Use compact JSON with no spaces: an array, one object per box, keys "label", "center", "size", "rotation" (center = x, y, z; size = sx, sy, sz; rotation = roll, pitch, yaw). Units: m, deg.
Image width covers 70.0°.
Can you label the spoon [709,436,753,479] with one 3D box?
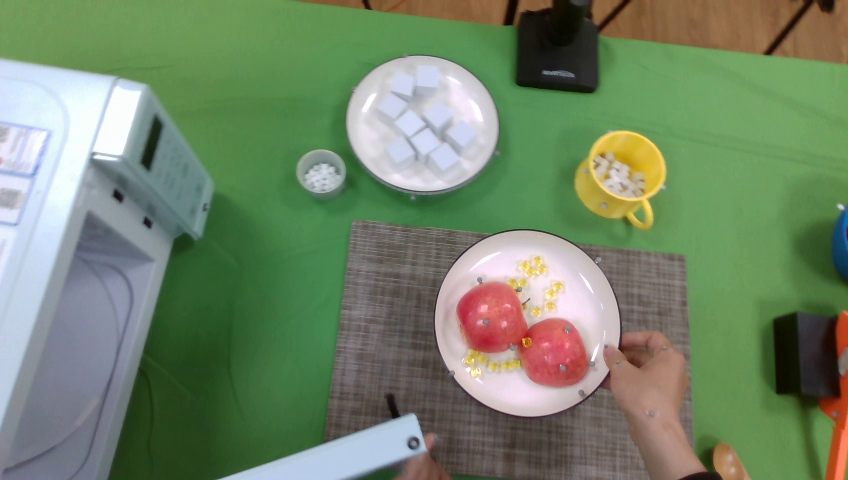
[{"label":"spoon","center":[0.411,0.316,0.726],"size":[0.041,0.022,0.193],"rotation":[-36,78,-31]}]

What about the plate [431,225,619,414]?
[{"label":"plate","center":[0.110,0.087,0.679],"size":[0.209,0.038,0.208],"rotation":[1,78,-2]}]

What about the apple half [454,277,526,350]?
[{"label":"apple half","center":[0.072,0.079,0.663],"size":[0.075,0.053,0.080],"rotation":[-14,79,-2]}]

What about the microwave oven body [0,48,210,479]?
[{"label":"microwave oven body","center":[-0.451,0.059,0.610],"size":[0.326,0.261,0.439],"rotation":[9,74,-2]}]

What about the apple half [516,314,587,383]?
[{"label":"apple half","center":[0.142,0.120,0.666],"size":[0.081,0.033,0.081],"rotation":[0,74,0]}]

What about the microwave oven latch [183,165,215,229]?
[{"label":"microwave oven latch","center":[-0.284,-0.055,0.757],"size":[0.030,0.029,0.079],"rotation":[10,74,-1]}]

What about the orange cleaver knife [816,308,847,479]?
[{"label":"orange cleaver knife","center":[0.504,0.189,0.739],"size":[0.012,0.077,0.211],"rotation":[7,96,2]}]

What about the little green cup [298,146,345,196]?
[{"label":"little green cup","center":[-0.133,-0.088,0.796],"size":[0.061,0.039,0.061],"rotation":[2,74,-5]}]

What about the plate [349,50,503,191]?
[{"label":"plate","center":[0.002,-0.161,0.830],"size":[0.208,0.039,0.206],"rotation":[1,73,-4]}]

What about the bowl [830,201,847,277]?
[{"label":"bowl","center":[0.601,0.009,0.802],"size":[0.151,0.077,0.150],"rotation":[1,74,-3]}]

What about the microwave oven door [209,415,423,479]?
[{"label":"microwave oven door","center":[-0.177,0.234,0.573],"size":[0.356,0.245,0.039],"rotation":[-16,74,-9]}]

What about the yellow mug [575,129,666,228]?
[{"label":"yellow mug","center":[0.268,-0.076,0.810],"size":[0.100,0.064,0.130],"rotation":[-22,77,-10]}]
